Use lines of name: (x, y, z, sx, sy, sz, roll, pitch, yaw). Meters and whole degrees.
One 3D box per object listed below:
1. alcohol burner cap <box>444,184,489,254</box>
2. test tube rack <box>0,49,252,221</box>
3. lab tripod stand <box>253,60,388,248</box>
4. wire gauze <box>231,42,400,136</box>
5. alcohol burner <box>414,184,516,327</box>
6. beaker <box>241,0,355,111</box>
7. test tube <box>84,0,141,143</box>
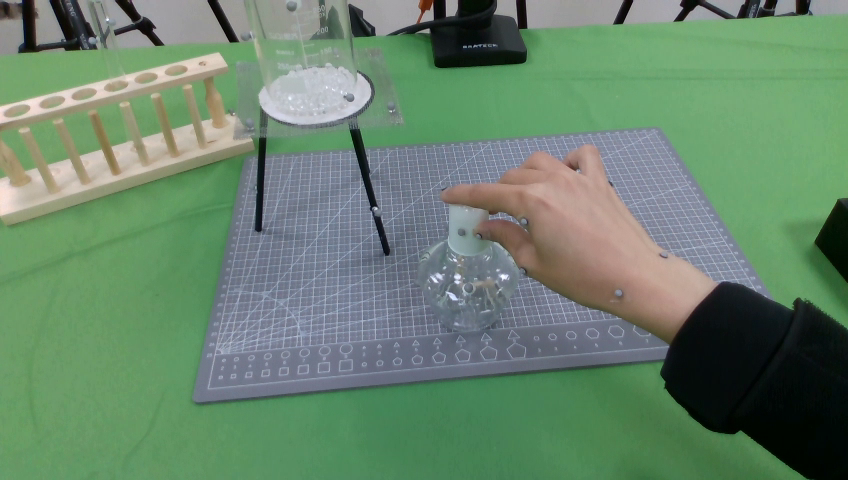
alcohol burner cap: (0.029, -0.017, 0.424, 0.034, 0.048, 0.033, -2, 46, 3)
test tube rack: (-0.306, -0.109, 0.602, 0.243, 0.086, 0.066, -22, 48, -20)
lab tripod stand: (-0.087, -0.073, 0.521, 0.148, 0.133, 0.147, -1, 46, 1)
wire gauze: (-0.088, -0.119, 0.475, 0.125, 0.011, 0.120, -10, 43, -5)
alcohol burner: (0.031, 0.009, 0.449, 0.078, 0.120, 0.077, -1, 42, 1)
beaker: (-0.092, -0.152, 0.438, 0.084, 0.101, 0.073, -3, 44, 0)
test tube: (-0.299, -0.162, 0.585, 0.017, 0.151, 0.017, 2, 38, -1)
